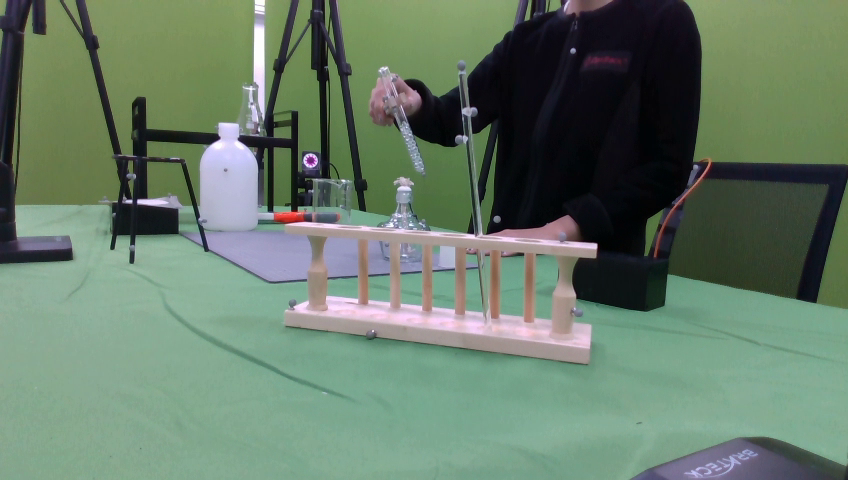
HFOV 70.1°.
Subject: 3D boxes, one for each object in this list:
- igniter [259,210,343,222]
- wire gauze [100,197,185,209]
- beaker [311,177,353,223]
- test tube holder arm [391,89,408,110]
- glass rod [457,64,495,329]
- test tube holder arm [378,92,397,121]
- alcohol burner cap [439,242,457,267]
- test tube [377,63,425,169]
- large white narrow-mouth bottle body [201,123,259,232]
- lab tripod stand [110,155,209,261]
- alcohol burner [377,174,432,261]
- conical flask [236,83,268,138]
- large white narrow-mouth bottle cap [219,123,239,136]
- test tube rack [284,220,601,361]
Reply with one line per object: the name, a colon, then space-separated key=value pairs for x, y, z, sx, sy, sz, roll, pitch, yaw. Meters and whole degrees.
igniter: x=-0.303 y=-0.049 z=1.258 sx=0.278 sy=0.025 sz=0.057 roll=-2 pitch=-2 yaw=-28
wire gauze: x=-0.469 y=-0.062 z=1.008 sx=0.126 sy=0.011 sz=0.121 roll=-2 pitch=8 yaw=-25
beaker: x=-0.167 y=-0.064 z=1.106 sx=0.074 sy=0.100 sz=0.083 roll=-2 pitch=9 yaw=-27
test tube holder arm: x=-0.040 y=-0.194 z=0.843 sx=0.010 sy=0.015 sz=0.087 roll=-22 pitch=7 yaw=-16
glass rod: x=0.040 y=-0.029 z=0.449 sx=0.008 sy=0.199 sz=0.008 roll=-7 pitch=9 yaw=1
test tube holder arm: x=-0.055 y=-0.193 z=0.885 sx=0.013 sy=0.015 sz=0.178 roll=-20 pitch=6 yaw=-8
alcohol burner cap: x=0.037 y=0.011 z=0.807 sx=0.034 sy=0.048 sz=0.034 roll=4 pitch=8 yaw=0
test tube: x=-0.030 y=-0.168 z=0.823 sx=0.017 sy=0.150 sz=0.017 roll=-21 pitch=6 yaw=2
large white narrow-mouth bottle body: x=-0.358 y=-0.116 z=1.116 sx=0.102 sy=0.194 sz=0.102 roll=2 pitch=8 yaw=0
lab tripod stand: x=-0.361 y=-0.046 z=0.806 sx=0.148 sy=0.131 sz=0.148 roll=2 pitch=5 yaw=0
alcohol burner: x=-0.027 y=-0.031 z=0.838 sx=0.078 sy=0.119 sz=0.078 roll=0 pitch=6 yaw=0
conical flask: x=-0.400 y=-0.298 z=1.396 sx=0.075 sy=0.122 sz=0.075 roll=2 pitch=8 yaw=0
large white narrow-mouth bottle cap: x=-0.356 y=-0.201 z=1.104 sx=0.038 sy=0.024 sz=0.037 roll=2 pitch=8 yaw=0
test tube rack: x=0.013 y=0.032 z=0.482 sx=0.242 sy=0.085 sz=0.067 roll=4 pitch=7 yaw=16
